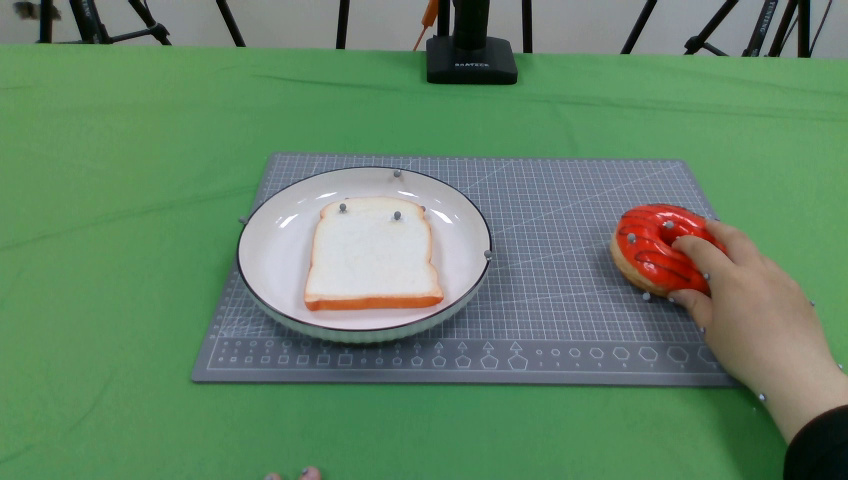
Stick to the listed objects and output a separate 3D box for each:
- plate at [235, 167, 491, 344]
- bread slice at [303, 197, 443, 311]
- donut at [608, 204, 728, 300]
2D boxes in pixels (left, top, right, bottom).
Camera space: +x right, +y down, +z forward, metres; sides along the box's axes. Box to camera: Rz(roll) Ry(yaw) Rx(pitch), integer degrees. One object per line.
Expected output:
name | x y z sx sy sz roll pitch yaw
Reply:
plate | -0.048 0.011 0.510 0.209 0.038 0.207 2 41 -1
bread slice | -0.047 0.009 0.515 0.107 0.018 0.133 -3 42 -8
donut | 0.207 0.010 0.517 0.099 0.048 0.098 4 45 -3
